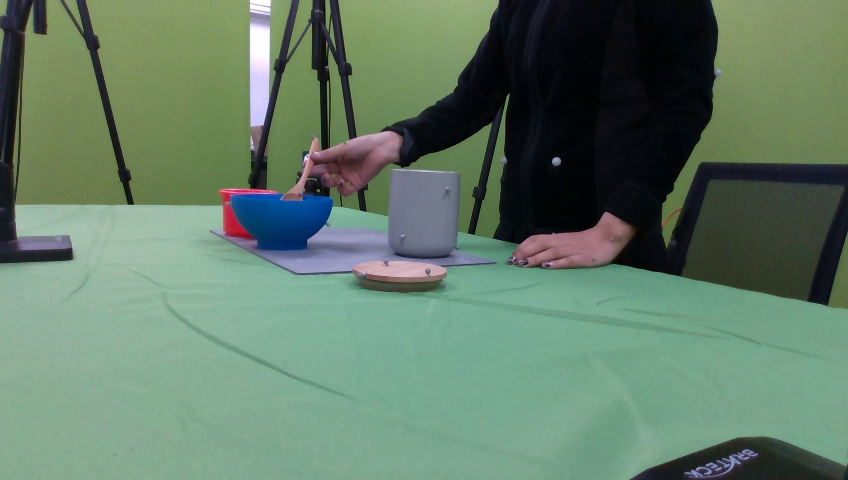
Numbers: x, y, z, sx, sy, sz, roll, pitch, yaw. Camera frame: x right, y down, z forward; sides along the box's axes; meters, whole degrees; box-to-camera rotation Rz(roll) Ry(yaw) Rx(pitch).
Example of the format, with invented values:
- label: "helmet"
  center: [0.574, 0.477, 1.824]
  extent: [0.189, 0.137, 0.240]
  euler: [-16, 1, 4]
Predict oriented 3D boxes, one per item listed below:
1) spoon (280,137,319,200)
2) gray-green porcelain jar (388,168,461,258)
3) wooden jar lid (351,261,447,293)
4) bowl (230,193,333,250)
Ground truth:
- label: "spoon"
  center: [-0.194, -0.104, 0.977]
  extent: [0.042, 0.193, 0.021]
  euler: [35, -45, -25]
- label: "gray-green porcelain jar"
  center: [0.000, -0.041, 0.897]
  extent: [0.106, 0.126, 0.106]
  euler: [2, 7, 0]
- label: "wooden jar lid"
  center: [-0.028, 0.042, 0.687]
  extent: [0.108, 0.020, 0.108]
  euler: [3, 8, 0]
- label: "bowl"
  center: [-0.214, -0.028, 0.912]
  extent: [0.151, 0.077, 0.151]
  euler: [2, 8, 0]
